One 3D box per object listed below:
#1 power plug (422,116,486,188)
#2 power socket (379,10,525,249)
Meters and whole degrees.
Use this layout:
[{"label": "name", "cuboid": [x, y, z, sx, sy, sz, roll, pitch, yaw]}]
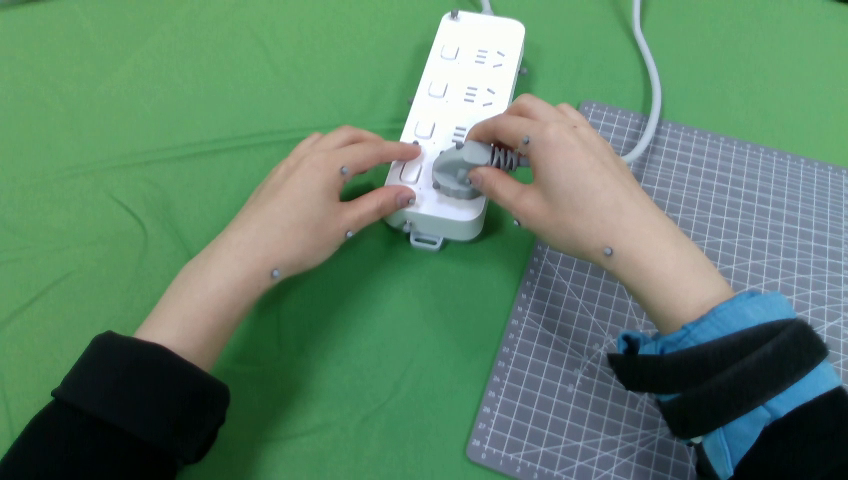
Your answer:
[{"label": "power plug", "cuboid": [0.022, -0.059, 0.378, 0.035, 0.072, 0.052, 31, 81, -1]}, {"label": "power socket", "cuboid": [0.026, -0.095, 0.459, 0.072, 0.033, 0.225, 13, 59, 6]}]
